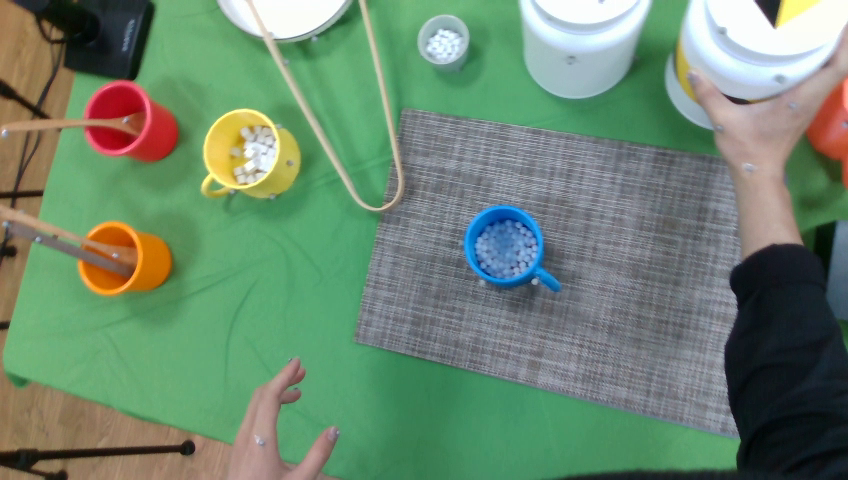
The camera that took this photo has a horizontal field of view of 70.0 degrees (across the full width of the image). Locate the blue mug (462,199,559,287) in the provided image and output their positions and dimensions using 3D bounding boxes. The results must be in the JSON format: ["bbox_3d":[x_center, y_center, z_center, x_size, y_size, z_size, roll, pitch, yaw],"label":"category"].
[{"bbox_3d":[0.102,0.014,0.672,0.116,0.106,0.082,38,92,11],"label":"blue mug"}]

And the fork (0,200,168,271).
[{"bbox_3d":[-0.423,-0.006,0.749,0.209,0.018,0.028,26,89,-32],"label":"fork"}]

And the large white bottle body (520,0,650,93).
[{"bbox_3d":[0.168,-0.248,0.645,0.130,0.185,0.130,-1,84,11],"label":"large white bottle body"}]

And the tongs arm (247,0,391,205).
[{"bbox_3d":[-0.148,-0.210,0.755,0.051,0.026,0.384,-26,88,3],"label":"tongs arm"}]

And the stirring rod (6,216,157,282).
[{"bbox_3d":[-0.419,0.014,0.750,0.006,0.178,0.014,-2,64,53],"label":"stirring rod"}]

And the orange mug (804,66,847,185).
[{"bbox_3d":[0.458,-0.123,0.626,0.083,0.101,0.126,2,81,11],"label":"orange mug"}]

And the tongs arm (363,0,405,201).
[{"bbox_3d":[-0.069,-0.240,0.747,0.028,0.028,0.387,-12,90,0],"label":"tongs arm"}]

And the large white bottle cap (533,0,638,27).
[{"bbox_3d":[0.152,-0.256,0.563,0.114,0.018,0.114,-1,85,11],"label":"large white bottle cap"}]

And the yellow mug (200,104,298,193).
[{"bbox_3d":[-0.230,-0.104,0.766,0.131,0.064,0.099,-40,80,6],"label":"yellow mug"}]

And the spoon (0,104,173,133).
[{"bbox_3d":[-0.422,-0.154,0.766,0.195,0.021,0.041,-8,79,-35],"label":"spoon"}]

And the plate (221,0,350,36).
[{"bbox_3d":[-0.173,-0.364,0.793,0.207,0.039,0.207,-1,85,10],"label":"plate"}]

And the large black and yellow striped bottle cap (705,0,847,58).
[{"bbox_3d":[0.299,-0.211,0.510,0.115,0.019,0.114,-1,84,11],"label":"large black and yellow striped bottle cap"}]

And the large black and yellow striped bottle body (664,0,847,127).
[{"bbox_3d":[0.317,-0.198,0.592,0.130,0.185,0.130,-2,82,12],"label":"large black and yellow striped bottle body"}]

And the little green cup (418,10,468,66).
[{"bbox_3d":[0.026,-0.246,0.746,0.061,0.039,0.061,-1,86,10],"label":"little green cup"}]
